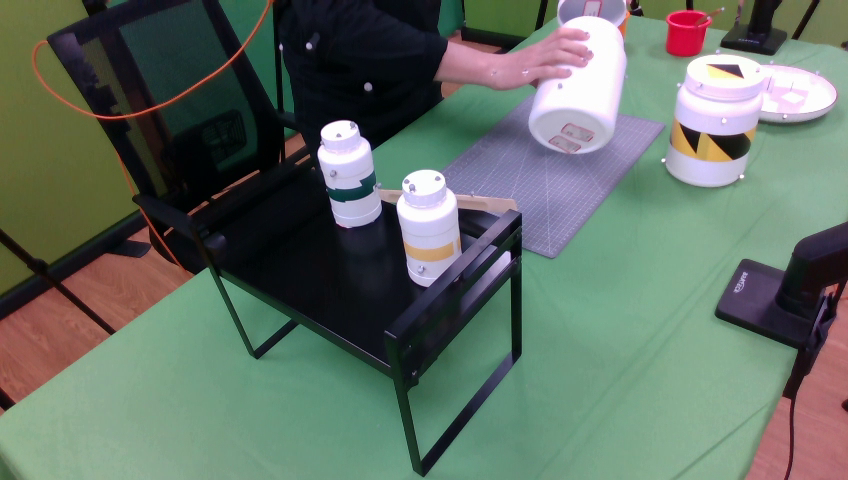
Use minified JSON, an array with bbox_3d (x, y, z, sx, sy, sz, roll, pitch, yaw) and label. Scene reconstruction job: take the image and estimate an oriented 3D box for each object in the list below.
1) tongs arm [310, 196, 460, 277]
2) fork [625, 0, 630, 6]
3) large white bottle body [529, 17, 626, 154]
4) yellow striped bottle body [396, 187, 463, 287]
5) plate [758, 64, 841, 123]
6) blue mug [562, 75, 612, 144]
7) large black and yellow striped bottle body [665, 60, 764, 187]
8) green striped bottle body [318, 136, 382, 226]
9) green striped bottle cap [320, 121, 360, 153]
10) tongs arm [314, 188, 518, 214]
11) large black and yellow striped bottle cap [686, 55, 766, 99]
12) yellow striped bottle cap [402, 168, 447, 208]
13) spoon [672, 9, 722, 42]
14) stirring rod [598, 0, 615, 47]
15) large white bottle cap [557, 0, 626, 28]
[{"bbox_3d":[-0.078,-0.011,0.943,0.028,0.028,0.384,-43,39,-22],"label":"tongs arm"},{"bbox_3d":[0.479,-0.556,1.452,0.028,0.019,0.207,41,103,40],"label":"fork"},{"bbox_3d":[0.249,-0.247,0.967,0.130,0.131,0.184,10,69,19],"label":"large white bottle body"},{"bbox_3d":[0.006,-0.013,0.638,0.063,0.121,0.062,-5,41,5],"label":"yellow striped bottle body"},{"bbox_3d":[0.695,-0.283,1.189,0.207,0.039,0.206,-4,40,4],"label":"plate"},{"bbox_3d":[0.298,-0.239,1.143,0.081,0.106,0.117,30,53,36],"label":"blue mug"},{"bbox_3d":[0.482,-0.196,1.008,0.131,0.185,0.130,-4,41,4],"label":"large black and yellow striped bottle body"},{"bbox_3d":[-0.090,-0.080,0.733,0.063,0.120,0.063,-5,41,4],"label":"green striped bottle body"},{"bbox_3d":[-0.097,-0.119,0.699,0.044,0.020,0.044,-4,39,4],"label":"green striped bottle cap"},{"bbox_3d":[-0.028,-0.060,0.988,0.382,0.027,0.051,9,45,36],"label":"tongs arm"},{"bbox_3d":[0.474,-0.258,0.952,0.115,0.019,0.114,-5,41,5],"label":"large black and yellow striped bottle cap"},{"bbox_3d":[0.000,-0.052,0.604,0.044,0.019,0.044,-4,44,5],"label":"yellow striped bottle cap"},{"bbox_3d":[0.606,-0.476,1.345,0.042,0.021,0.193,-6,-3,-2],"label":"spoon"},{"bbox_3d":[0.437,-0.551,1.462,0.014,0.006,0.175,-11,83,1],"label":"stirring rod"},{"bbox_3d":[0.286,-0.392,1.038,0.114,0.115,0.018,3,68,12],"label":"large white bottle cap"}]
